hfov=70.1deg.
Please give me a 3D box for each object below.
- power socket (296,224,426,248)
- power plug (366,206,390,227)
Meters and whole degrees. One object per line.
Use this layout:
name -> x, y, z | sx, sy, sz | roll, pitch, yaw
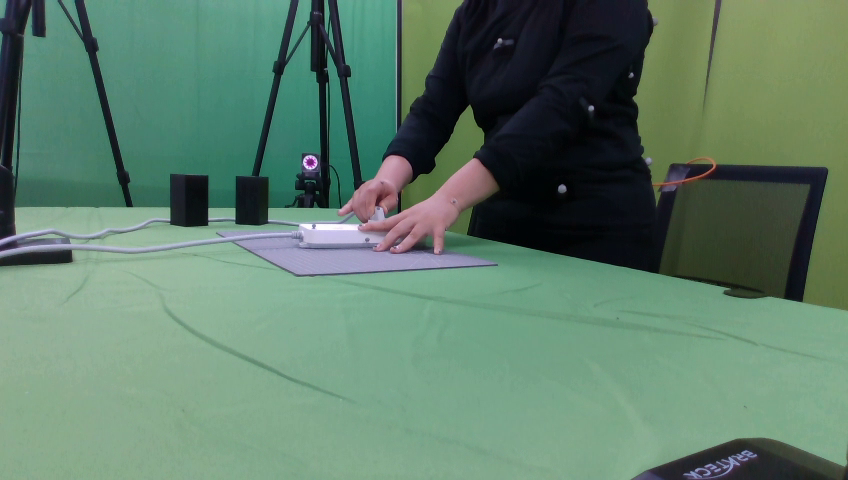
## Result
power socket -> -0.101, -0.008, 1.000 | 0.228, 0.032, 0.072 | -1, 9, -27
power plug -> -0.080, -0.032, 1.039 | 0.035, 0.052, 0.072 | 1, 7, -12
